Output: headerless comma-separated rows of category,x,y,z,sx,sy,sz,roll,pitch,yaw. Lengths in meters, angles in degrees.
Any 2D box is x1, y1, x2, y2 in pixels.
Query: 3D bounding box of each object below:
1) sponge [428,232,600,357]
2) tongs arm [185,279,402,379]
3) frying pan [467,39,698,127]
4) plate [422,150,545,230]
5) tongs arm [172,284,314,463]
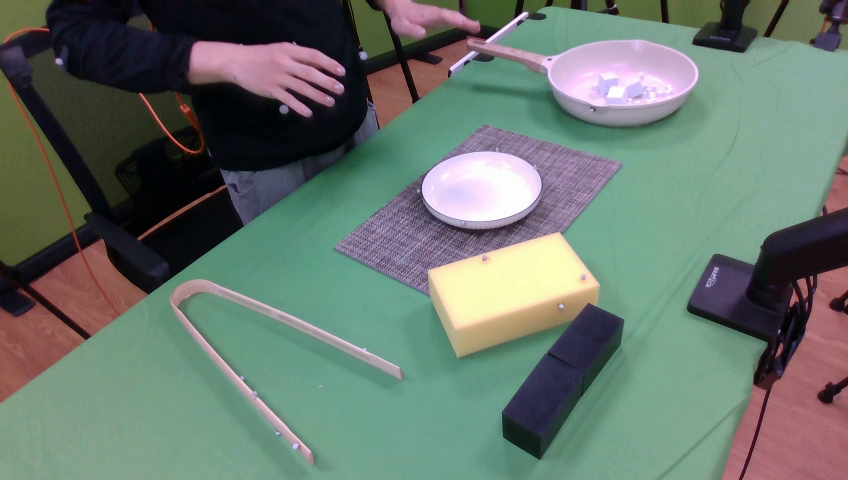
sponge,0.120,0.071,0.834,0.207,0.061,0.117,-15,43,-12
tongs arm,-0.194,0.120,0.853,0.385,0.028,0.028,17,49,27
frying pan,0.312,-0.359,1.277,0.485,0.103,0.307,23,48,19
plate,0.101,-0.082,1.031,0.207,0.039,0.206,-4,40,4
tongs arm,-0.246,0.161,0.806,0.381,0.026,0.051,28,51,36
